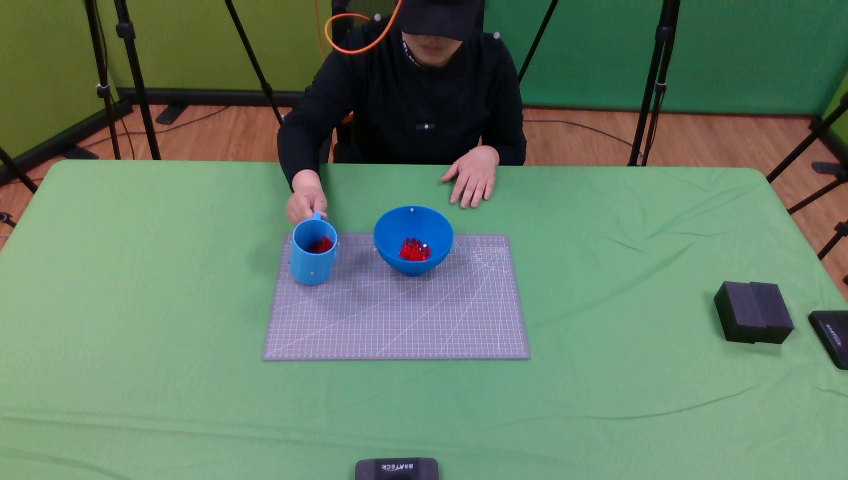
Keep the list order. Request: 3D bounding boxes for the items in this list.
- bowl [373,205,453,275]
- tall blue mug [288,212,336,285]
[{"bbox_3d":[-0.022,0.013,1.143,0.151,0.077,0.150,2,46,-2],"label":"bowl"},{"bbox_3d":[-0.208,0.011,1.091,0.078,0.108,0.106,-18,64,-25],"label":"tall blue mug"}]
